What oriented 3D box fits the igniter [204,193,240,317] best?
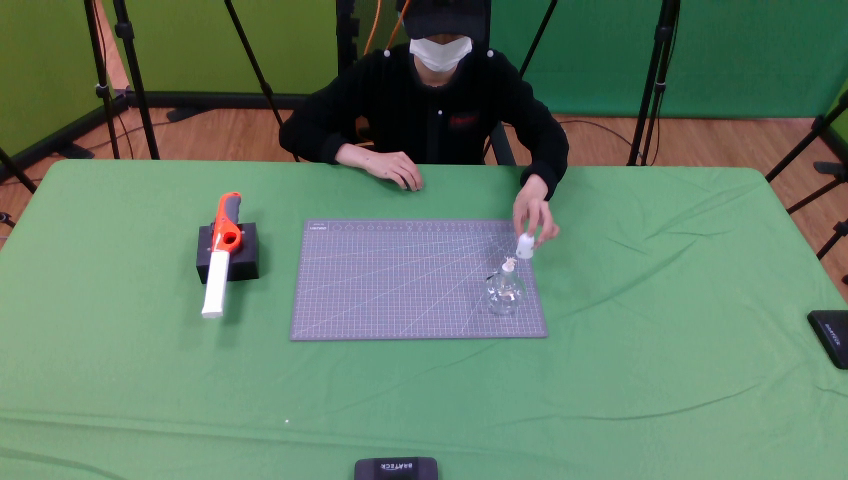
[{"bbox_3d":[-0.361,0.017,1.084,0.057,0.025,0.274,-3,51,-6],"label":"igniter"}]

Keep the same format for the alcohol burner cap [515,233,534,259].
[{"bbox_3d":[0.185,0.009,1.103,0.034,0.048,0.033,1,40,0],"label":"alcohol burner cap"}]

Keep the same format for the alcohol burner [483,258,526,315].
[{"bbox_3d":[0.143,0.076,1.067,0.078,0.120,0.077,1,45,-1],"label":"alcohol burner"}]
